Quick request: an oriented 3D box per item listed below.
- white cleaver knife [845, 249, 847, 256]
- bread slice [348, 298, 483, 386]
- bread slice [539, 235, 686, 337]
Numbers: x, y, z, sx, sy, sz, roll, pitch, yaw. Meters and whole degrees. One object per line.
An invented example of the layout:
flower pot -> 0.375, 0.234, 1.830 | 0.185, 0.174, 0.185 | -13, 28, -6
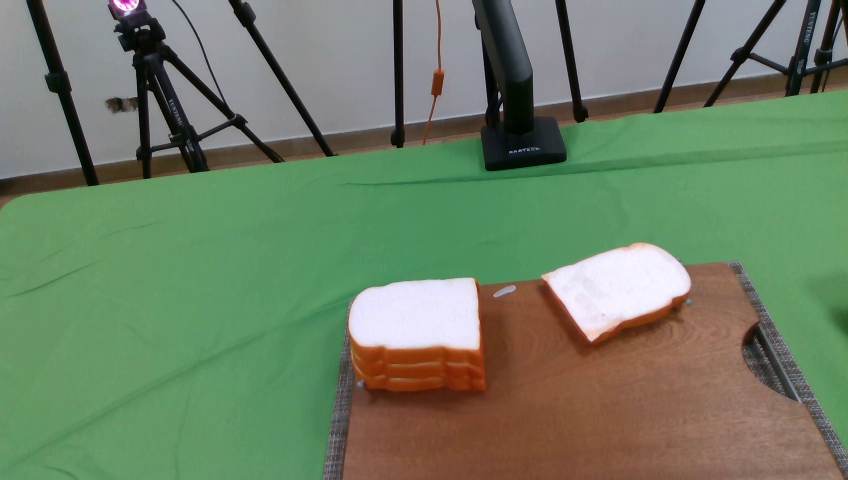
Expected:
white cleaver knife -> 0.464, 0.088, 0.495 | 0.066, 0.022, 0.283 | -14, 42, -1
bread slice -> -0.009, 0.100, 0.610 | 0.134, 0.018, 0.106 | -1, 38, 5
bread slice -> 0.200, 0.042, 0.627 | 0.131, 0.019, 0.103 | -21, 38, -5
